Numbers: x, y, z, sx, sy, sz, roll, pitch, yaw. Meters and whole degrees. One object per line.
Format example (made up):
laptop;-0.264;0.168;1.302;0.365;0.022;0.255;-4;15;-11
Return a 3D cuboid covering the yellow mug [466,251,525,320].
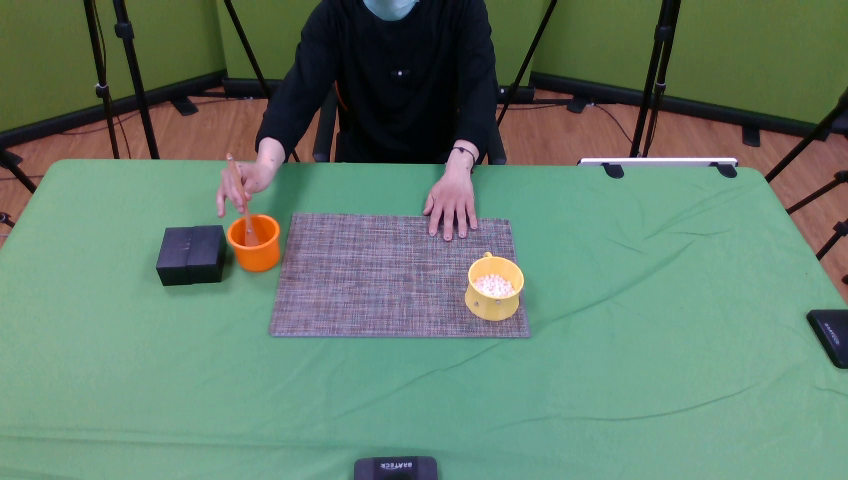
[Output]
yellow mug;0.125;0.074;1.096;0.100;0.064;0.130;-4;46;-7

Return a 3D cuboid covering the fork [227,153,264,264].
fork;-0.327;-0.056;1.105;0.018;0.208;0.028;8;24;44
